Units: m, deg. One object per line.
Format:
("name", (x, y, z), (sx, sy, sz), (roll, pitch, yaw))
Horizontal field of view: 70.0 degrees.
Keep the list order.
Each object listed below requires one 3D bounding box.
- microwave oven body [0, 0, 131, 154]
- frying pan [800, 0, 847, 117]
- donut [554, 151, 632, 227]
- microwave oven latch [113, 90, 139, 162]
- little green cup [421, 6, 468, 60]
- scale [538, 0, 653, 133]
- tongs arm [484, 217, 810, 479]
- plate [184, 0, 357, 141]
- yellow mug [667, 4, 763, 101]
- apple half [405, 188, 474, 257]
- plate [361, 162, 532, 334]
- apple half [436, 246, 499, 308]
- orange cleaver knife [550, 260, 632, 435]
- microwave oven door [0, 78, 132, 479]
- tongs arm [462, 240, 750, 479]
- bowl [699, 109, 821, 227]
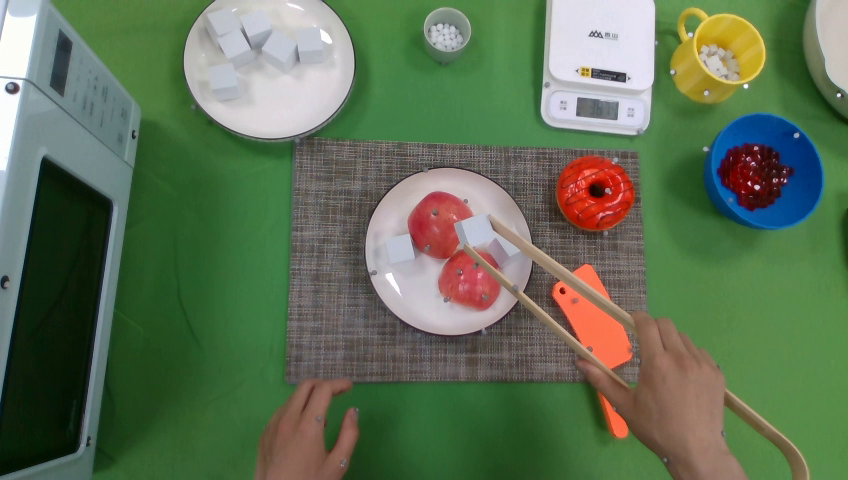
("microwave oven body", (-0.500, 0.013, 0.567), (0.327, 0.260, 0.440), (4, 80, -6))
("frying pan", (0.706, -0.190, 0.820), (0.307, 0.103, 0.485), (-26, 76, -9))
("donut", (0.213, -0.065, 0.770), (0.099, 0.048, 0.098), (1, 80, -4))
("microwave oven latch", (-0.353, -0.133, 0.707), (0.030, 0.029, 0.079), (5, 80, -6))
("little green cup", (0.025, -0.268, 0.792), (0.061, 0.039, 0.061), (1, 79, -6))
("scale", (0.232, -0.248, 0.814), (0.149, 0.031, 0.200), (5, 80, -5))
("tongs arm", (0.208, 0.098, 0.606), (0.385, 0.028, 0.028), (39, 67, 15))
("plate", (-0.189, -0.220, 0.760), (0.208, 0.039, 0.207), (1, 80, -6))
("yellow mug", (0.381, -0.259, 0.815), (0.100, 0.064, 0.130), (-32, 84, -10))
("apple half", (0.020, -0.026, 0.729), (0.081, 0.053, 0.074), (-43, 84, -12))
("plate", (0.027, 0.011, 0.739), (0.209, 0.038, 0.208), (1, 80, -6))
("apple half", (0.055, 0.042, 0.731), (0.081, 0.033, 0.081), (0, 81, -2))
("orange cleaver knife", (0.219, 0.130, 0.749), (0.077, 0.012, 0.210), (-16, 80, -15))
("microwave oven door", (-0.356, 0.063, 0.569), (0.039, 0.244, 0.354), (3, 79, -5))
("tongs arm", (0.192, 0.115, 0.598), (0.050, 0.027, 0.382), (-42, 73, -18))
("bowl", (0.417, -0.084, 0.783), (0.151, 0.077, 0.151), (1, 81, -6))
